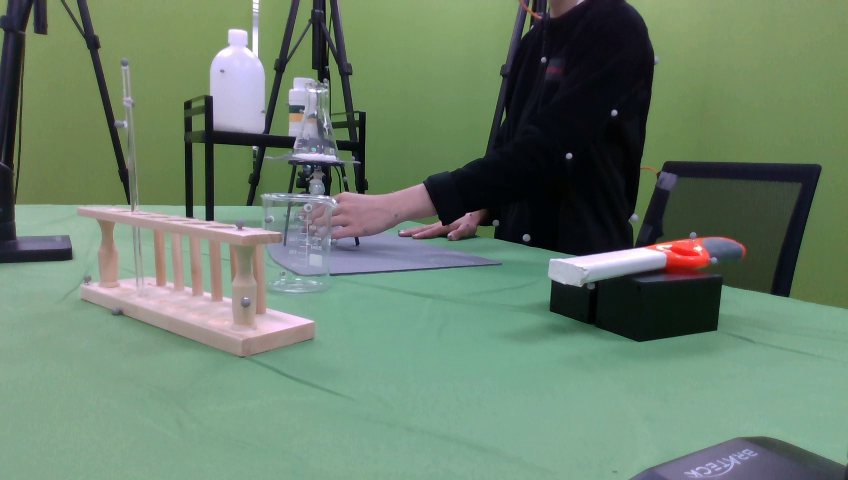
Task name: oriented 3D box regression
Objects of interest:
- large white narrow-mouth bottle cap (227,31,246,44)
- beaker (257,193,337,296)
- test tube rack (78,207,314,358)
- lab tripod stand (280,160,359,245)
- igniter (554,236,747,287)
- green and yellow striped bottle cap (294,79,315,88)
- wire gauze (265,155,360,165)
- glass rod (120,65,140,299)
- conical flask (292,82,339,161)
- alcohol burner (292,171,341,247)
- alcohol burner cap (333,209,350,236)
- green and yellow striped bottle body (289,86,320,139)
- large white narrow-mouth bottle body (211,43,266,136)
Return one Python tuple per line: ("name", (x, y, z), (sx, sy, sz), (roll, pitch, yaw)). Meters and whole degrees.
("large white narrow-mouth bottle cap", (-0.361, -0.389, 1.165), (0.038, 0.024, 0.037), (1, 7, 0))
("beaker", (-0.130, 0.004, 0.628), (0.084, 0.100, 0.074), (5, 8, 15))
("test tube rack", (-0.196, 0.024, 0.499), (0.241, 0.085, 0.067), (8, 8, 37))
("lab tripod stand", (-0.176, -0.062, 0.973), (0.148, 0.131, 0.148), (0, 7, 0))
("igniter", (0.221, 0.017, 0.558), (0.278, 0.025, 0.057), (-5, 15, -39))
("green and yellow striped bottle cap", (-0.248, -0.323, 1.256), (0.045, 0.020, 0.045), (3, 9, 0))
("wire gauze", (-0.181, -0.128, 0.969), (0.126, 0.011, 0.121), (-3, 7, -26))
("glass rod", (-0.249, -0.047, 0.513), (0.008, 0.199, 0.008), (-1, 4, 0))
("conical flask", (-0.171, -0.185, 0.957), (0.075, 0.122, 0.075), (2, 7, 0))
("alcohol burner", (-0.171, -0.050, 0.959), (0.078, 0.119, 0.078), (1, 6, 0))
("alcohol burner cap", (-0.151, -0.033, 1.116), (0.034, 0.048, 0.034), (3, 7, 0))
("green and yellow striped bottle body", (-0.250, -0.272, 1.261), (0.063, 0.119, 0.063), (3, 7, 0))
("large white narrow-mouth bottle body", (-0.361, -0.302, 1.176), (0.102, 0.194, 0.102), (1, 7, 0))
